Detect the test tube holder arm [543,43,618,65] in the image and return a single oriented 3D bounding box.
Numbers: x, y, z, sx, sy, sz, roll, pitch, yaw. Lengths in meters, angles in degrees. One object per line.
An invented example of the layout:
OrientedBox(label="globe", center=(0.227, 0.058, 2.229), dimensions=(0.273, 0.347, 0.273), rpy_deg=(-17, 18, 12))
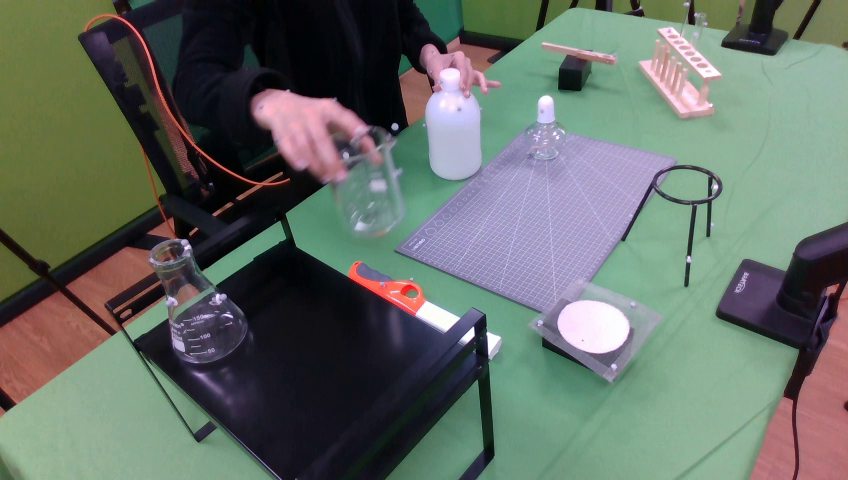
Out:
OrientedBox(label="test tube holder arm", center=(0.344, -0.413, 1.340), dimensions=(0.177, 0.015, 0.013), rpy_deg=(25, 51, 31))

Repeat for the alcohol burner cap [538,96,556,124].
OrientedBox(label="alcohol burner cap", center=(0.222, -0.237, 1.095), dimensions=(0.034, 0.048, 0.033), rpy_deg=(-7, 35, 5))

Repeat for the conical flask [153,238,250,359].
OrientedBox(label="conical flask", center=(-0.225, 0.055, 0.597), dimensions=(0.075, 0.122, 0.075), rpy_deg=(-5, 41, 4))

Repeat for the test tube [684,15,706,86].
OrientedBox(label="test tube", center=(0.541, -0.378, 1.215), dimensions=(0.017, 0.151, 0.017), rpy_deg=(-2, 44, 3))

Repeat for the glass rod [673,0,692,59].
OrientedBox(label="glass rod", center=(0.537, -0.437, 1.257), dimensions=(0.008, 0.200, 0.008), rpy_deg=(0, 39, 1))

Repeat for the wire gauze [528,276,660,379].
OrientedBox(label="wire gauze", center=(0.213, 0.103, 0.763), dimensions=(0.124, 0.011, 0.122), rpy_deg=(30, 52, 35))

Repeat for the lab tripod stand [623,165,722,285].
OrientedBox(label="lab tripod stand", center=(0.365, -0.030, 0.874), dimensions=(0.148, 0.132, 0.147), rpy_deg=(-6, 41, 6))

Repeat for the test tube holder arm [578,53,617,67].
OrientedBox(label="test tube holder arm", center=(0.376, -0.393, 1.314), dimensions=(0.087, 0.015, 0.010), rpy_deg=(26, 51, 32))

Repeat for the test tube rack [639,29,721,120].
OrientedBox(label="test tube rack", center=(0.527, -0.351, 1.262), dimensions=(0.067, 0.085, 0.241), rpy_deg=(-8, 40, 1))

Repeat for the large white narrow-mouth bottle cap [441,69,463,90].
OrientedBox(label="large white narrow-mouth bottle cap", center=(0.048, -0.273, 1.026), dimensions=(0.038, 0.024, 0.037), rpy_deg=(-3, 43, 3))

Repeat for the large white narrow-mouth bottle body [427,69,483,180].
OrientedBox(label="large white narrow-mouth bottle body", center=(0.056, -0.211, 1.086), dimensions=(0.102, 0.195, 0.101), rpy_deg=(-3, 43, 4))

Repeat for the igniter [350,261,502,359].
OrientedBox(label="igniter", center=(-0.009, 0.094, 0.870), dimensions=(0.274, 0.025, 0.057), rpy_deg=(25, 60, 33))

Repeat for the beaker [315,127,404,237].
OrientedBox(label="beaker", center=(-0.062, -0.061, 0.649), dimensions=(0.084, 0.101, 0.073), rpy_deg=(-8, 35, 8))

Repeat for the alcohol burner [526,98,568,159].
OrientedBox(label="alcohol burner", center=(0.228, -0.210, 1.118), dimensions=(0.078, 0.119, 0.077), rpy_deg=(-5, 43, 5))
